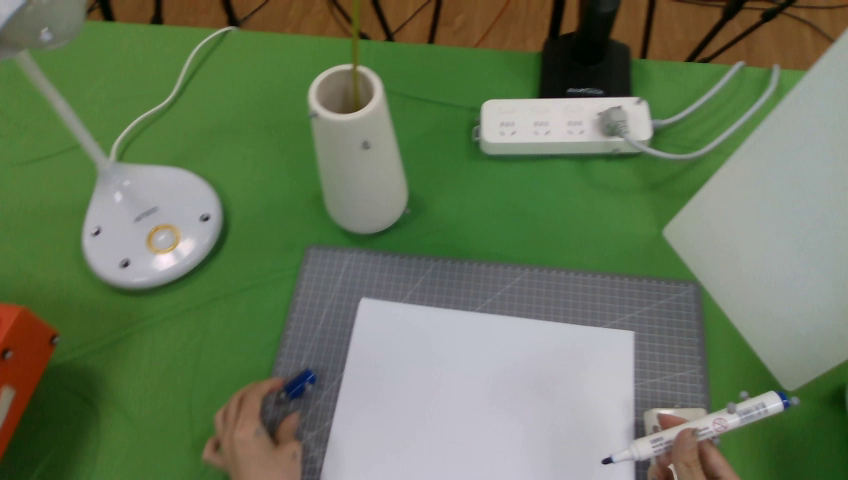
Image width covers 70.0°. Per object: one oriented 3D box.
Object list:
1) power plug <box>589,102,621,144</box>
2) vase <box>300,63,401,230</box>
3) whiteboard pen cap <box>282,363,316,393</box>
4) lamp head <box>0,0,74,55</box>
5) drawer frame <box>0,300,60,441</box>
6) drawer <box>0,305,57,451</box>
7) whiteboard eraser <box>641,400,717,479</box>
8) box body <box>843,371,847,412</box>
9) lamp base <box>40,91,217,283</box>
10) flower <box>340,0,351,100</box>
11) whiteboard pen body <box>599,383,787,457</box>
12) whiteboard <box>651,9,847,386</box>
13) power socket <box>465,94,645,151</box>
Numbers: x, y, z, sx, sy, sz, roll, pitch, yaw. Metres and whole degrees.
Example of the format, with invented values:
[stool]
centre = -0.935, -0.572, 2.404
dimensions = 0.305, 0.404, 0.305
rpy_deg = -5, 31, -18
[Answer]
[power plug]
centre = 0.217, -0.135, 0.734
dimensions = 0.035, 0.053, 0.072
rpy_deg = 9, 63, 7
[vase]
centre = -0.080, -0.094, 0.652
dimensions = 0.098, 0.201, 0.097
rpy_deg = -1, 61, 3
[whiteboard pen cap]
centre = -0.129, 0.141, 0.625
dimensions = 0.033, 0.018, 0.018
rpy_deg = -40, 67, -17
[lamp head]
centre = -0.300, -0.197, 0.395
dimensions = 0.124, 0.112, 0.112
rpy_deg = 45, 66, -18
[drawer frame]
centre = -0.492, 0.145, 0.552
dimensions = 0.213, 0.083, 0.200
rpy_deg = 8, 63, 4
[drawer]
centre = -0.486, 0.144, 0.551
dimensions = 0.211, 0.074, 0.193
rpy_deg = 8, 63, 6
[whiteboard eraser]
centre = 0.239, 0.207, 0.564
dimensions = 0.055, 0.042, 0.111
rpy_deg = 1, 61, 0
[box body]
centre = 0.517, 0.251, 0.466
dimensions = 0.254, 0.161, 0.361
rpy_deg = 4, 62, 4
[lamp base]
centre = -0.338, -0.065, 0.654
dimensions = 0.178, 0.182, 0.160
rpy_deg = 36, 67, 22
[flower]
centre = -0.074, -0.148, 0.588
dimensions = 0.038, 0.365, 0.043
rpy_deg = -6, 43, -9
[whiteboard pen body]
centre = 0.195, 0.134, 0.443
dimensions = 0.141, 0.017, 0.017
rpy_deg = -21, 62, 2
[whiteboard]
centre = 0.413, -0.037, 0.580
dimensions = 0.144, 0.307, 0.215
rpy_deg = -14, 59, -27
[power socket]
centre = 0.167, -0.149, 0.769
dimensions = 0.227, 0.033, 0.071
rpy_deg = 0, 62, 1
